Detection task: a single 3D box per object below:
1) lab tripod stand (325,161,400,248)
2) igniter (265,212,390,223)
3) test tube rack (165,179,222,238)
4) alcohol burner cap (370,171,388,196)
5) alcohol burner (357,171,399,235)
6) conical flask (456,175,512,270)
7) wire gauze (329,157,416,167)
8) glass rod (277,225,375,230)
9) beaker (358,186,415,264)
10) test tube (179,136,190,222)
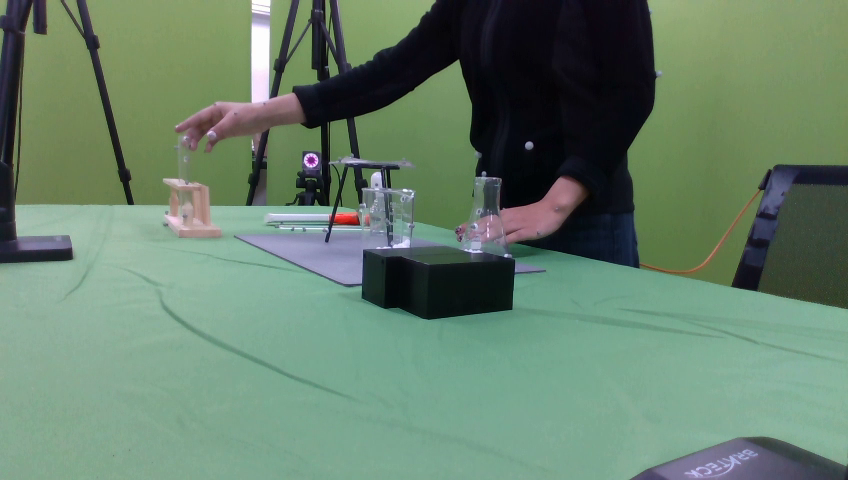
[{"bbox_3d":[-0.083,-0.059,0.977,0.148,0.131,0.148,4,8,0],"label":"lab tripod stand"},{"bbox_3d":[-0.196,-0.048,1.286,0.278,0.025,0.057,-2,-2,-30],"label":"igniter"},{"bbox_3d":[-0.423,-0.062,1.098,0.067,0.085,0.241,-2,9,-28],"label":"test tube rack"},{"bbox_3d":[-0.085,-0.104,1.121,0.034,0.048,0.034,-4,8,1],"label":"alcohol burner cap"},{"bbox_3d":[-0.085,-0.069,1.125,0.078,0.119,0.078,3,10,0],"label":"alcohol burner"},{"bbox_3d":[0.082,-0.025,0.801,0.075,0.122,0.075,2,7,0],"label":"conical flask"},{"bbox_3d":[-0.079,-0.126,0.972,0.121,0.011,0.125,4,8,5],"label":"wire gauze"},{"bbox_3d":[-0.186,-0.024,1.178,0.201,0.008,0.008,1,7,-31],"label":"glass rod"},{"bbox_3d":[-0.048,-0.021,0.817,0.083,0.100,0.074,9,10,41],"label":"beaker"},{"bbox_3d":[-0.416,-0.105,1.052,0.017,0.150,0.017,0,4,0],"label":"test tube"}]
